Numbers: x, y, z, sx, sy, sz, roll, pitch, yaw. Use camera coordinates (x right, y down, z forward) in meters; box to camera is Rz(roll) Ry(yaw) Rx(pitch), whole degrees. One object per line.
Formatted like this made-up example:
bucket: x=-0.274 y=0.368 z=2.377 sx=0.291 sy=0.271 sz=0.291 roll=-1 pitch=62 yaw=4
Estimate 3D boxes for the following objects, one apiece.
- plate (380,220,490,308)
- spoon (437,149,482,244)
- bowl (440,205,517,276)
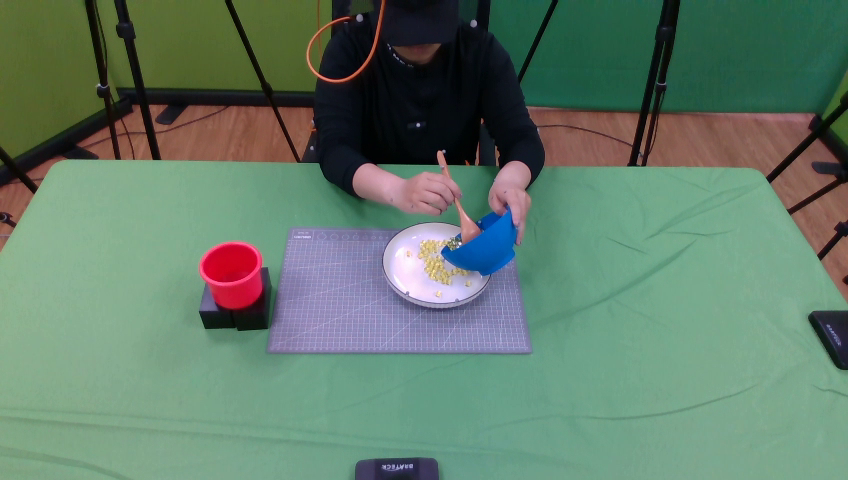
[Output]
plate: x=0.022 y=0.048 z=1.138 sx=0.208 sy=0.039 sz=0.206 roll=2 pitch=46 yaw=-2
spoon: x=0.059 y=-0.070 z=1.072 sx=0.041 sy=0.021 sz=0.193 roll=-21 pitch=85 yaw=-14
bowl: x=0.111 y=0.011 z=1.074 sx=0.151 sy=0.151 sz=0.077 roll=-40 pitch=98 yaw=-33
